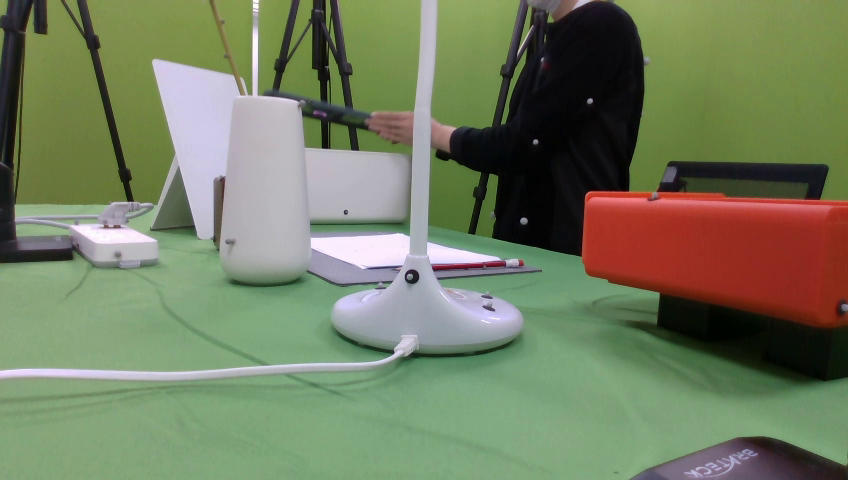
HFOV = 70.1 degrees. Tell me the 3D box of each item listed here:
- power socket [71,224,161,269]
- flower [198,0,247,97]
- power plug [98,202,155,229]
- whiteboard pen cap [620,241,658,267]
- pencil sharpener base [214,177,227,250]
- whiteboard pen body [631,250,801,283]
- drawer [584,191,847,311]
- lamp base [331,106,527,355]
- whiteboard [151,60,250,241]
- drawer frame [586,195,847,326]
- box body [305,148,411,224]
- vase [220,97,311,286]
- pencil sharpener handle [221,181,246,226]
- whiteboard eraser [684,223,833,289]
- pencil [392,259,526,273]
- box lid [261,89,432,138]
[{"bbox_3d":[-0.408,0.004,0.793,0.072,0.032,0.225,-2,8,-38],"label":"power socket"},{"bbox_3d":[-0.187,-0.133,0.648,0.038,0.362,0.044,0,22,43],"label":"flower"},{"bbox_3d":[-0.416,-0.027,0.848,0.073,0.052,0.035,0,8,-28],"label":"power plug"},{"bbox_3d":[0.199,0.013,0.557,0.018,0.018,0.033,-4,18,-40],"label":"whiteboard pen cap"},{"bbox_3d":[-0.265,-0.036,0.870,0.061,0.107,0.076,-2,8,-29],"label":"pencil sharpener base"},{"bbox_3d":[0.240,0.020,0.512,0.017,0.017,0.140,-4,8,-41],"label":"whiteboard pen body"},{"bbox_3d":[0.280,0.001,0.513,0.195,0.073,0.211,0,8,-28],"label":"drawer"},{"bbox_3d":[0.006,-0.012,0.478,0.161,0.180,0.179,2,10,2],"label":"lamp base"},{"bbox_3d":[-0.408,-0.140,1.094,0.143,0.305,0.218,-15,0,25],"label":"whiteboard"},{"bbox_3d":[0.284,0.004,0.509,0.203,0.082,0.212,-1,6,-28],"label":"drawer frame"},{"bbox_3d":[-0.233,-0.127,1.373,0.366,0.160,0.253,-2,8,-29],"label":"box body"},{"bbox_3d":[-0.172,-0.052,0.662,0.098,0.200,0.098,3,8,0],"label":"vase"},{"bbox_3d":[-0.289,-0.055,0.912,0.036,0.067,0.030,-3,9,-29],"label":"pencil sharpener handle"},{"bbox_3d":[0.305,0.013,0.558,0.056,0.042,0.112,-9,19,-31],"label":"whiteboard eraser"},{"bbox_3d":[0.049,0.035,0.782,0.195,0.012,0.012,-3,9,-25],"label":"pencil"},{"bbox_3d":[-0.189,-0.281,1.385,0.373,0.015,0.262,10,3,-20],"label":"box lid"}]
